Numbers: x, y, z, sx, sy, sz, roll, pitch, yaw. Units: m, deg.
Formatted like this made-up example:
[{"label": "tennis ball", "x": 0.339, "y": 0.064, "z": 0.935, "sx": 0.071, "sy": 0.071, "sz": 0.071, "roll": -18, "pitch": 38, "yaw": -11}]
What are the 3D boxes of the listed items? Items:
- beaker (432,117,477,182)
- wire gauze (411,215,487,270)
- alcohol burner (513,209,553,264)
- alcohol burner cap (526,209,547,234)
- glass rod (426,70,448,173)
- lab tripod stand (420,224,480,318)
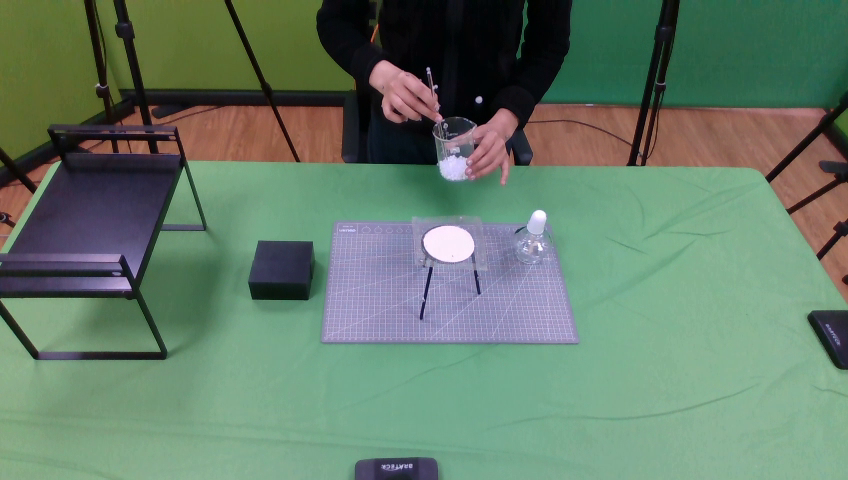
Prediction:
[{"label": "beaker", "x": 0.060, "y": -0.165, "z": 1.114, "sx": 0.084, "sy": 0.101, "sz": 0.073, "roll": -17, "pitch": 46, "yaw": -7}, {"label": "wire gauze", "x": 0.041, "y": 0.002, "z": 1.026, "sx": 0.125, "sy": 0.011, "sz": 0.120, "roll": 1, "pitch": 46, "yaw": -3}, {"label": "alcohol burner", "x": 0.211, "y": -0.012, "z": 1.159, "sx": 0.078, "sy": 0.120, "sz": 0.077, "roll": 2, "pitch": 44, "yaw": -1}, {"label": "alcohol burner cap", "x": 0.212, "y": -0.037, "z": 1.132, "sx": 0.034, "sy": 0.048, "sz": 0.033, "roll": 5, "pitch": 51, "yaw": -6}, {"label": "glass rod", "x": 0.024, "y": -0.204, "z": 1.072, "sx": 0.008, "sy": 0.201, "sz": 0.008, "roll": -8, "pitch": 37, "yaw": 6}, {"label": "lab tripod stand", "x": 0.034, "y": 0.052, "z": 1.070, "sx": 0.148, "sy": 0.132, "sz": 0.147, "roll": 3, "pitch": 48, "yaw": -3}]
